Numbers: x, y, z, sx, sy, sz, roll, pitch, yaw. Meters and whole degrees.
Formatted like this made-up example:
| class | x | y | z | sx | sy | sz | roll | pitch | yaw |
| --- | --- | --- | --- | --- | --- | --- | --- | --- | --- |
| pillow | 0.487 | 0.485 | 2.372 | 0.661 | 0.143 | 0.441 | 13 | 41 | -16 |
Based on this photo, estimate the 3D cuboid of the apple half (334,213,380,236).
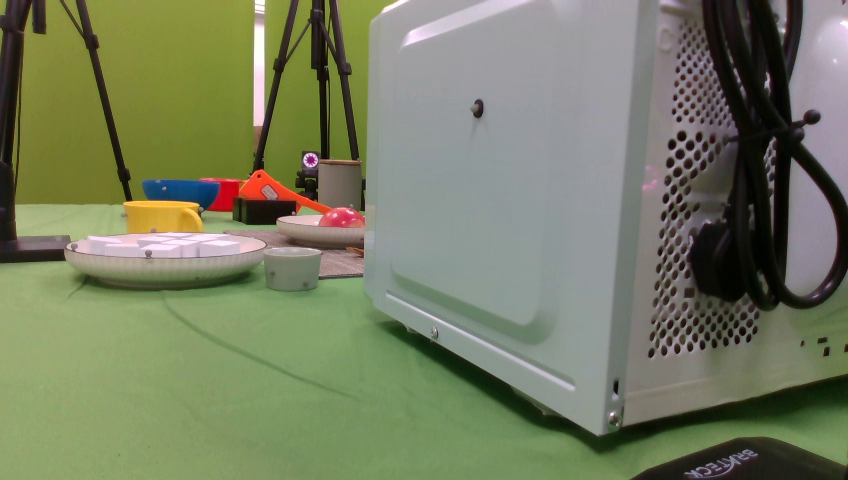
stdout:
| class | x | y | z | sx | sy | sz | roll | pitch | yaw |
| --- | --- | --- | --- | --- | --- | --- | --- | --- | --- |
| apple half | -0.112 | -0.029 | 1.034 | 0.081 | 0.033 | 0.081 | 1 | 10 | 0 |

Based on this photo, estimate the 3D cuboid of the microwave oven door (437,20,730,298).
| class | x | y | z | sx | sy | sz | roll | pitch | yaw |
| --- | --- | --- | --- | --- | --- | --- | --- | --- | --- |
| microwave oven door | 0.181 | -0.076 | 0.618 | 0.358 | 0.243 | 0.039 | -2 | 9 | -28 |

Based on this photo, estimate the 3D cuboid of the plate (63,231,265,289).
| class | x | y | z | sx | sy | sz | roll | pitch | yaw |
| --- | --- | --- | --- | --- | --- | --- | --- | --- | --- |
| plate | -0.288 | 0.021 | 0.687 | 0.208 | 0.039 | 0.207 | 2 | 8 | 0 |

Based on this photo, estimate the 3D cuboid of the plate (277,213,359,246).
| class | x | y | z | sx | sy | sz | roll | pitch | yaw |
| --- | --- | --- | --- | --- | --- | --- | --- | --- | --- |
| plate | -0.135 | -0.018 | 0.994 | 0.209 | 0.038 | 0.209 | 2 | 7 | 0 |

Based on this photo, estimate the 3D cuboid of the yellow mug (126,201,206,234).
| class | x | y | z | sx | sy | sz | roll | pitch | yaw |
| --- | --- | --- | --- | --- | --- | --- | --- | --- | --- |
| yellow mug | -0.360 | -0.019 | 0.866 | 0.130 | 0.064 | 0.100 | 6 | 9 | 27 |

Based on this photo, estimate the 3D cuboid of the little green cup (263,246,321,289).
| class | x | y | z | sx | sy | sz | roll | pitch | yaw |
| --- | --- | --- | --- | --- | --- | --- | --- | --- | --- |
| little green cup | -0.142 | 0.029 | 0.649 | 0.061 | 0.038 | 0.061 | 3 | 7 | 0 |

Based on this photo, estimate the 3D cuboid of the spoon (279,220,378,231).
| class | x | y | z | sx | sy | sz | roll | pitch | yaw |
| --- | --- | --- | --- | --- | --- | --- | --- | --- | --- |
| spoon | -0.173 | -0.030 | 1.128 | 0.195 | 0.021 | 0.041 | -3 | -12 | -30 |

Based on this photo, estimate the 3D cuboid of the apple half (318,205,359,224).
| class | x | y | z | sx | sy | sz | roll | pitch | yaw |
| --- | --- | --- | --- | --- | --- | --- | --- | --- | --- |
| apple half | -0.126 | -0.028 | 0.954 | 0.081 | 0.053 | 0.074 | -2 | 11 | -33 |

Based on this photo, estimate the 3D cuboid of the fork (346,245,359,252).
| class | x | y | z | sx | sy | sz | roll | pitch | yaw |
| --- | --- | --- | --- | --- | --- | --- | --- | --- | --- |
| fork | -0.027 | 0.006 | 0.901 | 0.208 | 0.018 | 0.028 | -7 | -2 | -43 |

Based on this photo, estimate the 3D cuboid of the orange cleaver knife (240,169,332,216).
| class | x | y | z | sx | sy | sz | roll | pitch | yaw |
| --- | --- | --- | --- | --- | --- | --- | --- | --- | --- |
| orange cleaver knife | -0.287 | -0.082 | 1.298 | 0.212 | 0.077 | 0.012 | 25 | -2 | -31 |

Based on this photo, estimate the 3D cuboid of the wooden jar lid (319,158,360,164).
| class | x | y | z | sx | sy | sz | roll | pitch | yaw |
| --- | --- | --- | --- | --- | --- | --- | --- | --- | --- |
| wooden jar lid | -0.203 | -0.189 | 1.482 | 0.108 | 0.020 | 0.108 | 2 | 10 | 0 |

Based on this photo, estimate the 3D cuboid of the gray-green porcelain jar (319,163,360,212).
| class | x | y | z | sx | sy | sz | roll | pitch | yaw |
| --- | --- | --- | --- | --- | --- | --- | --- | --- | --- |
| gray-green porcelain jar | -0.204 | -0.126 | 1.490 | 0.106 | 0.126 | 0.106 | 2 | 8 | 0 |

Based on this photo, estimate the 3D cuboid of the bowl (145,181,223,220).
| class | x | y | z | sx | sy | sz | roll | pitch | yaw |
| --- | --- | --- | --- | --- | --- | --- | --- | --- | --- |
| bowl | -0.499 | -0.081 | 1.261 | 0.151 | 0.077 | 0.151 | 2 | 7 | 0 |

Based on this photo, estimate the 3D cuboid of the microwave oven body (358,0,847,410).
| class | x | y | z | sx | sy | sz | roll | pitch | yaw |
| --- | --- | --- | --- | --- | --- | --- | --- | --- | --- |
| microwave oven body | 0.210 | -0.051 | 0.471 | 0.444 | 0.260 | 0.324 | -1 | 7 | -28 |

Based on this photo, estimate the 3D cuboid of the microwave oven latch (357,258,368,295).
| class | x | y | z | sx | sy | sz | roll | pitch | yaw |
| --- | --- | --- | --- | --- | --- | --- | --- | --- | --- |
| microwave oven latch | -0.019 | 0.031 | 0.529 | 0.079 | 0.029 | 0.030 | -1 | 7 | -26 |
